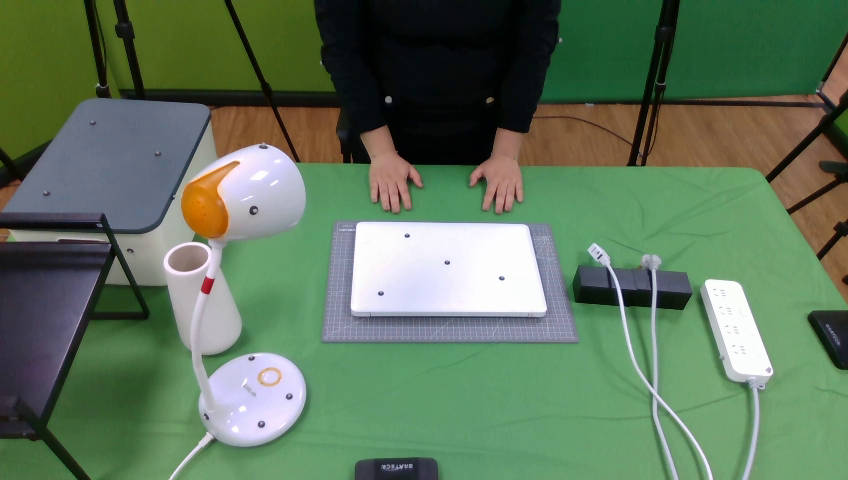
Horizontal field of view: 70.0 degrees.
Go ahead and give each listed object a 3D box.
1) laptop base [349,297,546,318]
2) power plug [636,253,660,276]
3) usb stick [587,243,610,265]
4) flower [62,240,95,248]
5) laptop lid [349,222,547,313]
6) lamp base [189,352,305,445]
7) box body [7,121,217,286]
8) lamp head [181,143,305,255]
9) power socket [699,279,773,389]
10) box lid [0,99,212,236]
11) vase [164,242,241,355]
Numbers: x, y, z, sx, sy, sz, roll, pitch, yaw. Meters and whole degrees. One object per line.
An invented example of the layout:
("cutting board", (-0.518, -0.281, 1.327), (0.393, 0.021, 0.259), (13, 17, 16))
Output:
("laptop base", (0.041, 0.056, 1.149), (0.355, 0.023, 0.234), (1, 42, -4))
("power plug", (0.415, 0.050, 1.139), (0.035, 0.053, 0.072), (46, 48, 10))
("usb stick", (0.336, 0.024, 1.172), (0.027, 0.021, 0.059), (33, 16, -13))
("flower", (-0.557, -0.053, 1.195), (0.044, 0.038, 0.361), (47, 54, 2))
("laptop lid", (0.041, 0.046, 1.143), (0.357, 0.013, 0.240), (2, 44, -3))
("lamp base", (-0.268, 0.196, 0.876), (0.160, 0.181, 0.179), (26, 52, 20))
("box body", (-0.560, -0.092, 1.145), (0.254, 0.161, 0.361), (3, 46, -2))
("lamp head", (-0.216, -0.044, 0.697), (0.112, 0.113, 0.123), (23, 31, 17))
("power socket", (0.552, 0.158, 1.081), (0.072, 0.033, 0.225), (4, 47, 1))
("box lid", (-0.555, -0.143, 1.090), (0.263, 0.015, 0.369), (2, 46, -1))
("vase", (-0.349, 0.096, 0.954), (0.098, 0.201, 0.097), (3, 47, -3))
